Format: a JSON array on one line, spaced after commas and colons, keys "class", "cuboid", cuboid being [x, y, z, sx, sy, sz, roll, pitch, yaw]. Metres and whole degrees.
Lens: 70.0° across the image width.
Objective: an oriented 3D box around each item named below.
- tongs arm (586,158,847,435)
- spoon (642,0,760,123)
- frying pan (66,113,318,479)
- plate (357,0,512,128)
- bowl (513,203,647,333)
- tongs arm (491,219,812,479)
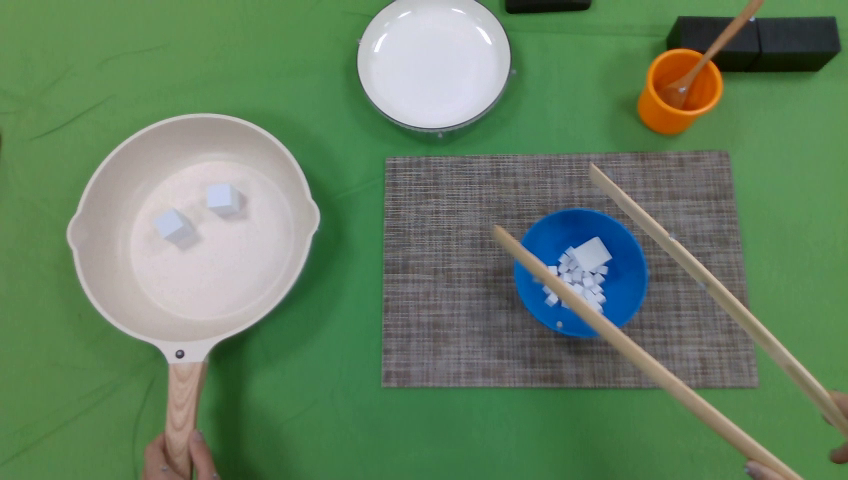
[{"class": "tongs arm", "cuboid": [0.255, 0.061, 0.536, 0.051, 0.027, 0.381, -30, 59, -14]}, {"class": "spoon", "cuboid": [0.344, -0.225, 0.748, 0.041, 0.194, 0.022, 48, 38, 16]}, {"class": "frying pan", "cuboid": [-0.275, 0.082, 0.719, 0.307, 0.103, 0.484, -3, 67, 2]}, {"class": "plate", "cuboid": [0.014, -0.244, 0.823, 0.207, 0.039, 0.206, -1, 76, 3]}, {"class": "bowl", "cuboid": [0.178, 0.039, 0.720, 0.151, 0.077, 0.150, 0, 76, 2]}, {"class": "tongs arm", "cuboid": [0.198, 0.097, 0.519, 0.028, 0.028, 0.384, -37, 60, -22]}]
